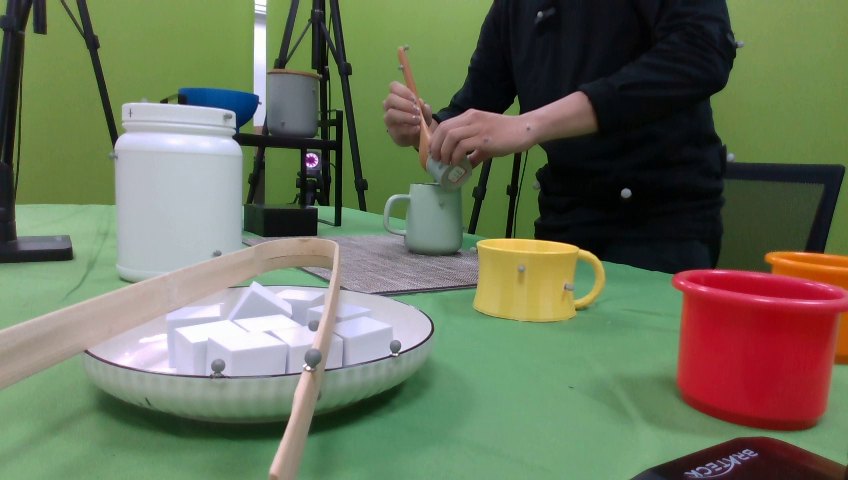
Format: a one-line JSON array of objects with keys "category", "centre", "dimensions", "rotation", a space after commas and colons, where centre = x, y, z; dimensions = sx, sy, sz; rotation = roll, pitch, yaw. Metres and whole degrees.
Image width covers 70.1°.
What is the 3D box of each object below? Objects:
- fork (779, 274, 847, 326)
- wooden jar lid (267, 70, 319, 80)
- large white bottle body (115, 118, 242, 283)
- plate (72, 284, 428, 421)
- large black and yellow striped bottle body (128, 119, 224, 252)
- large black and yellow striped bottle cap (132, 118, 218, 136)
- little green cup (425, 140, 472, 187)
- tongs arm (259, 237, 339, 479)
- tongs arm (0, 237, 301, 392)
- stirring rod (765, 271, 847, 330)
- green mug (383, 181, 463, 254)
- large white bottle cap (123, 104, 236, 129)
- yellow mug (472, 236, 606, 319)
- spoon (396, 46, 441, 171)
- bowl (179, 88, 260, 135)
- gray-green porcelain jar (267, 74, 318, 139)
[{"category": "fork", "centre": [0.332, 0.018, 0.443], "dimensions": [0.028, 0.018, 0.207], "rotation": [-2, -35, -16]}, {"category": "wooden jar lid", "centre": [-0.275, -0.339, 1.271], "dimensions": [0.108, 0.020, 0.108], "rotation": [5, 6, 0]}, {"category": "large white bottle body", "centre": [-0.270, -0.051, 0.673], "dimensions": [0.131, 0.184, 0.130], "rotation": [2, 8, 0]}, {"category": "plate", "centre": [-0.102, 0.067, 0.381], "dimensions": [0.208, 0.039, 0.207], "rotation": [3, 7, 0]}, {"category": "large black and yellow striped bottle body", "centre": [-0.361, -0.081, 0.887], "dimensions": [0.131, 0.184, 0.130], "rotation": [2, 8, 0]}, {"category": "large black and yellow striped bottle cap", "centre": [-0.359, -0.164, 0.875], "dimensions": [0.115, 0.019, 0.115], "rotation": [2, 6, 0]}, {"category": "little green cup", "centre": [0.037, -0.108, 0.867], "dimensions": [0.062, 0.061, 0.038], "rotation": [-3, 46, -37]}, {"category": "tongs arm", "centre": [-0.074, 0.040, 0.345], "dimensions": [0.051, 0.026, 0.384], "rotation": [-1, 9, -3]}, {"category": "tongs arm", "centre": [-0.158, 0.038, 0.346], "dimensions": [0.028, 0.028, 0.388], "rotation": [-3, 8, 11]}, {"category": "stirring rod", "centre": [0.352, 0.020, 0.481], "dimensions": [0.176, 0.006, 0.014], "rotation": [-40, -8, 17]}, {"category": "green mug", "centre": [-0.001, -0.036, 0.921], "dimensions": [0.126, 0.105, 0.092], "rotation": [0, 8, -16]}, {"category": "large white bottle cap", "centre": [-0.266, -0.135, 0.663], "dimensions": [0.115, 0.018, 0.115], "rotation": [3, 7, 0]}, {"category": "yellow mug", "centre": [0.114, 0.034, 0.590], "dimensions": [0.131, 0.064, 0.100], "rotation": [2, 6, -7]}, {"category": "spoon", "centre": [-0.010, -0.193, 0.892], "dimensions": [0.041, 0.193, 0.021], "rotation": [-18, -4, 8]}, {"category": "bowl", "centre": [-0.400, -0.248, 1.188], "dimensions": [0.151, 0.077, 0.151], "rotation": [2, 6, 0]}, {"category": "gray-green porcelain jar", "centre": [-0.277, -0.279, 1.280], "dimensions": [0.106, 0.126, 0.106], "rotation": [2, 7, 0]}]
